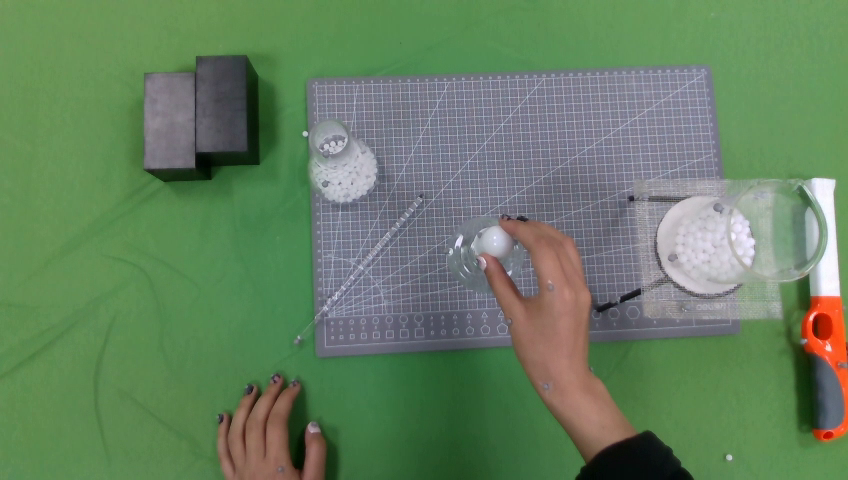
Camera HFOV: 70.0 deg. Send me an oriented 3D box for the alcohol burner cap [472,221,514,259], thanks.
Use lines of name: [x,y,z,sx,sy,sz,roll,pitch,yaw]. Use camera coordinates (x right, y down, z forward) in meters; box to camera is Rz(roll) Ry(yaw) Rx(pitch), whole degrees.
alcohol burner cap: [0.061,-0.002,0.523,0.034,0.048,0.034,1,83,-6]

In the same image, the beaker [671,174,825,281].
beaker: [0.247,-0.007,0.475,0.074,0.100,0.084,33,84,1]

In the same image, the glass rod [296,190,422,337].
glass rod: [-0.067,0.023,0.634,0.008,0.008,0.199,40,83,2]

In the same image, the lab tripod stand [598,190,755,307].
lab tripod stand: [0.240,0.013,0.587,0.148,0.131,0.148,0,85,-2]

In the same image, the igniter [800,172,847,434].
igniter: [0.426,0.064,0.646,0.057,0.025,0.275,3,83,-13]

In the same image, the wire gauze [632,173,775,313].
wire gauze: [0.243,0.002,0.523,0.125,0.011,0.121,0,86,-4]

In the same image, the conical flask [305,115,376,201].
conical flask: [-0.086,-0.085,0.589,0.075,0.122,0.075,0,83,-2]

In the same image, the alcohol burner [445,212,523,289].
alcohol burner: [0.060,0.008,0.589,0.078,0.119,0.077,0,83,0]
